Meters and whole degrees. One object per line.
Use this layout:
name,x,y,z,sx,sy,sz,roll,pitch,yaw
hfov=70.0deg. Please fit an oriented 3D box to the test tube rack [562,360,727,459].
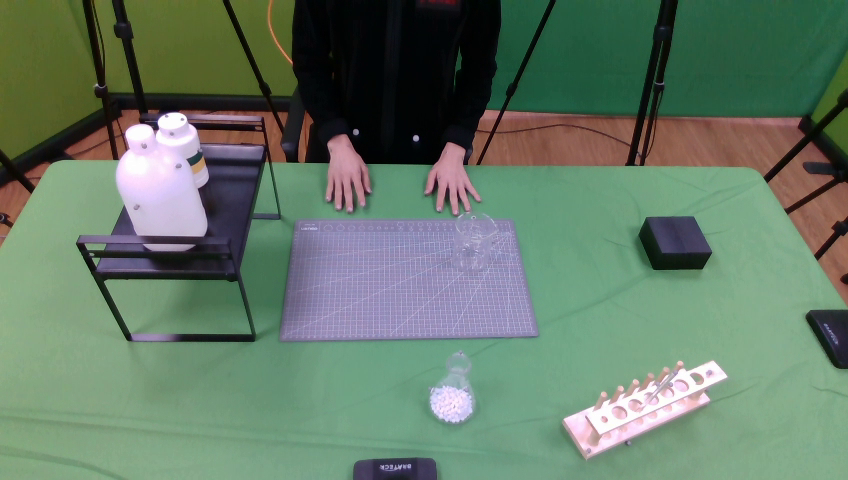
test tube rack,0.341,0.247,0.940,0.243,0.085,0.066,-16,49,-18

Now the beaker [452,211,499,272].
beaker,0.093,0.006,1.141,0.084,0.101,0.073,7,46,3

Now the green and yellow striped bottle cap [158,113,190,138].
green and yellow striped bottle cap,-0.393,-0.180,0.951,0.045,0.020,0.045,2,44,-2

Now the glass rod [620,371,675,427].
glass rod,0.316,0.230,0.863,0.008,0.200,0.008,3,54,-3

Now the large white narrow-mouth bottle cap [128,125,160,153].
large white narrow-mouth bottle cap,-0.376,-0.136,0.812,0.038,0.024,0.037,3,46,-3

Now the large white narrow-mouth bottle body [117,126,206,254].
large white narrow-mouth bottle body,-0.383,-0.076,0.874,0.102,0.195,0.101,3,46,-3

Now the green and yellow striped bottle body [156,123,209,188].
green and yellow striped bottle body,-0.395,-0.145,0.989,0.063,0.120,0.063,2,46,-2

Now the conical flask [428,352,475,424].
conical flask,0.046,0.220,0.920,0.075,0.122,0.075,2,46,-2
